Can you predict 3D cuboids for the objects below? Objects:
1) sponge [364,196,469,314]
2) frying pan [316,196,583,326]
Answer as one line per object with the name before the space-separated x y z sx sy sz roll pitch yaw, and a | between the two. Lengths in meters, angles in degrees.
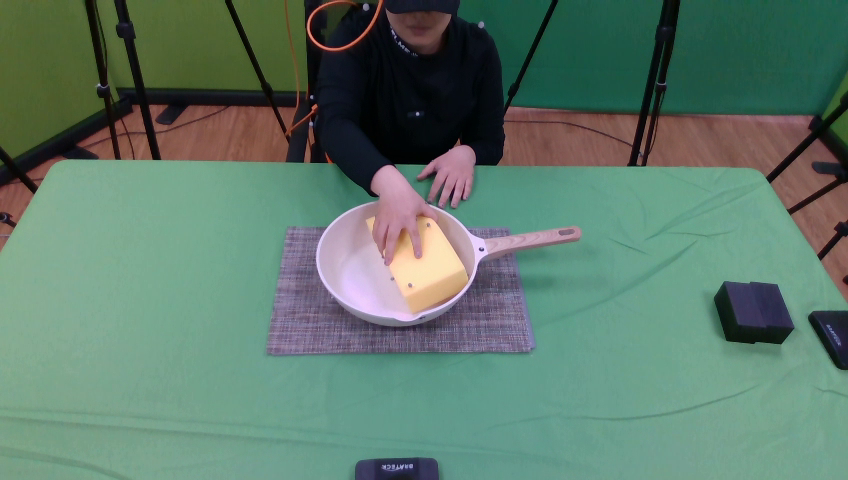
sponge | -0.016 0.023 1.119 0.118 0.061 0.205 -27 50 -6
frying pan | 0.054 0.027 1.114 0.488 0.103 0.304 -9 48 -1
